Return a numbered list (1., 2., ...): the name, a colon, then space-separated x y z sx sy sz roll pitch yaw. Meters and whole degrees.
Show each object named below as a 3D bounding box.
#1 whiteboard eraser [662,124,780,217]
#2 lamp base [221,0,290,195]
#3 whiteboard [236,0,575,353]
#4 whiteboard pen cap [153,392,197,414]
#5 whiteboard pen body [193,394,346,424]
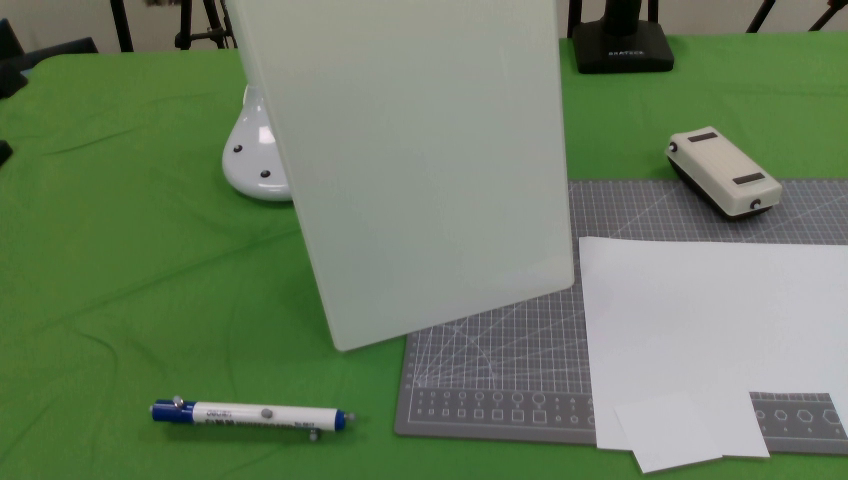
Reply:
1. whiteboard eraser: 0.290 -0.069 0.599 0.055 0.042 0.111 -16 46 -8
2. lamp base: -0.166 -0.166 0.647 0.160 0.182 0.177 -35 49 -26
3. whiteboard: -0.010 -0.094 0.513 0.217 0.308 0.142 -14 26 -7
4. whiteboard pen cap: -0.188 0.125 0.464 0.033 0.018 0.018 1 45 4
5. whiteboard pen body: -0.129 0.127 0.459 0.140 0.017 0.017 2 45 5
